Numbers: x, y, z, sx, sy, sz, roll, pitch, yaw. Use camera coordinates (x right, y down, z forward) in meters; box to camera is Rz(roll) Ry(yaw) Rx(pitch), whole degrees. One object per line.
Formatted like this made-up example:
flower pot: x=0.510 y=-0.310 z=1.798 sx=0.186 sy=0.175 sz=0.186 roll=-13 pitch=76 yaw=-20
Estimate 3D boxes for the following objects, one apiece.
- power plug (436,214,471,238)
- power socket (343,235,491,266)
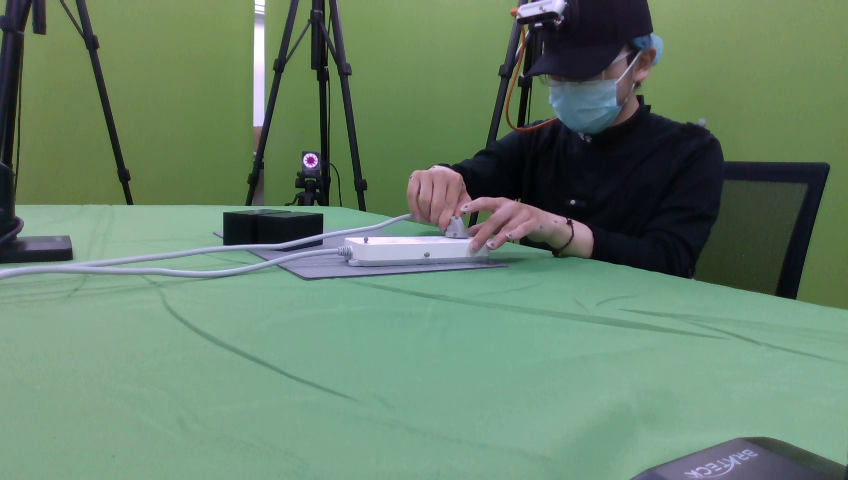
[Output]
power plug: x=0.045 y=-0.013 z=0.909 sx=0.035 sy=0.052 sz=0.072 roll=-1 pitch=5 yaw=-17
power socket: x=-0.007 y=0.012 z=0.848 sx=0.228 sy=0.032 sz=0.072 roll=-2 pitch=8 yaw=-29
